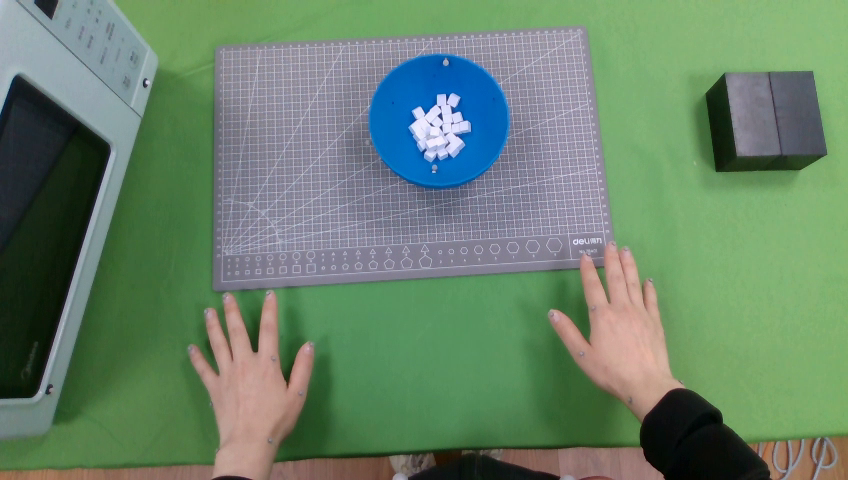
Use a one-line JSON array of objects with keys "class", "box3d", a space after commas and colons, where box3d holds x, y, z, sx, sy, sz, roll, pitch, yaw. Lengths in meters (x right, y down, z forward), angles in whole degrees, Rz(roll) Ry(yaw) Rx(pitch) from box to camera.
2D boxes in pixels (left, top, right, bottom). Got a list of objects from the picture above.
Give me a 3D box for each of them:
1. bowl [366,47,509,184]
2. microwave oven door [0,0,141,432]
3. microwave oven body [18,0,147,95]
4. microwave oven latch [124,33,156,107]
[{"class": "bowl", "box3d": [0.014, -0.125, 0.670, 0.151, 0.077, 0.150, 0, 78, 0]}, {"class": "microwave oven door", "box3d": [-0.371, -0.006, 0.544, 0.039, 0.245, 0.354, 10, 78, 3]}, {"class": "microwave oven body", "box3d": [-0.507, -0.071, 0.562, 0.326, 0.261, 0.440, 10, 79, 1]}, {"class": "microwave oven latch", "box3d": [-0.329, -0.194, 0.688, 0.030, 0.029, 0.079, 11, 79, 2]}]
